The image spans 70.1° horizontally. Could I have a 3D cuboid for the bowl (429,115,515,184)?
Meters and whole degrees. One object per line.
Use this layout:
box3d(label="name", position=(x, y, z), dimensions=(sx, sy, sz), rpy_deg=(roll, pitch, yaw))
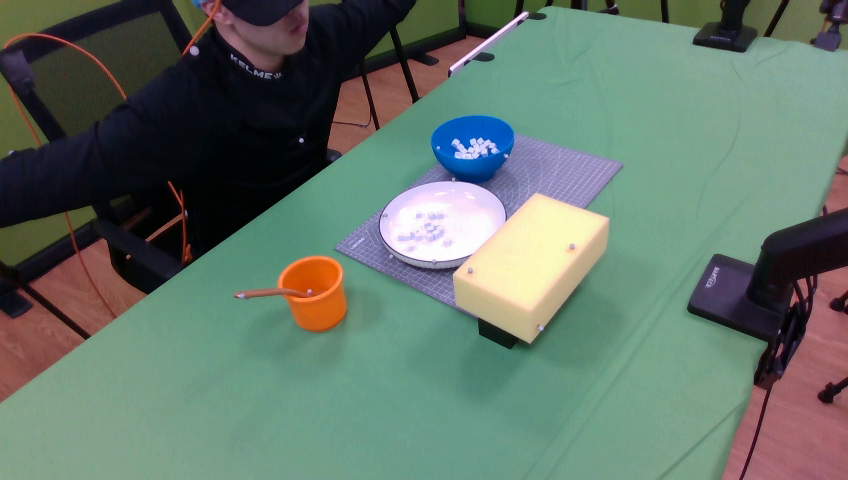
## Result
box3d(label="bowl", position=(0.089, -0.154, 1.089), dimensions=(0.151, 0.077, 0.150), rpy_deg=(-4, 41, 4))

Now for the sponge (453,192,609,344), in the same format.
box3d(label="sponge", position=(0.147, 0.029, 0.808), dimensions=(0.117, 0.061, 0.207), rpy_deg=(23, 50, 31))

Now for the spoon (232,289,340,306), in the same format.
box3d(label="spoon", position=(-0.181, 0.074, 0.812), dimensions=(0.041, 0.195, 0.021), rpy_deg=(16, 90, 31))

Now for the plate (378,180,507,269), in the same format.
box3d(label="plate", position=(0.031, -0.022, 0.974), dimensions=(0.209, 0.038, 0.208), rpy_deg=(-4, 40, 4))
